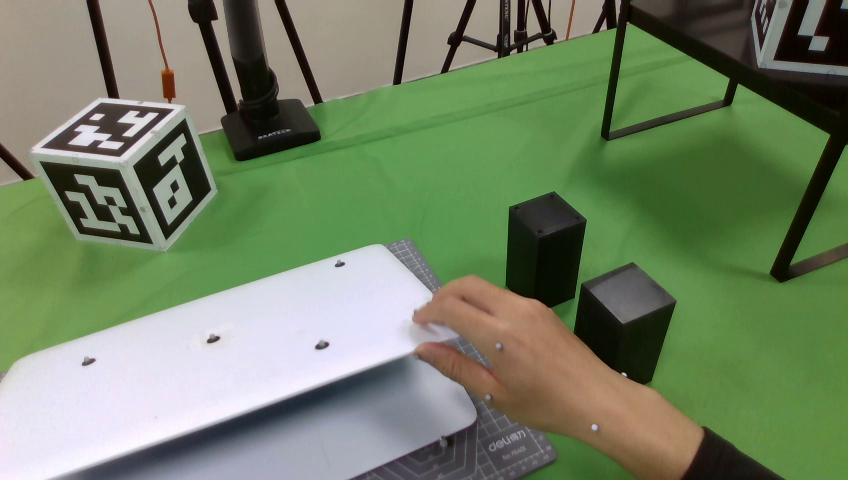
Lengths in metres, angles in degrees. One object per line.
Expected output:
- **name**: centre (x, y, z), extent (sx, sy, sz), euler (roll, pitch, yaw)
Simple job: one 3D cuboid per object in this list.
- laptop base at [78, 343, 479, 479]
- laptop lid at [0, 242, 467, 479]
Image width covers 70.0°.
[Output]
- **laptop base**: centre (-0.159, 0.133, 0.524), extent (0.355, 0.023, 0.232), euler (-18, 46, -16)
- **laptop lid**: centre (-0.167, 0.084, 0.493), extent (0.357, 0.013, 0.239), euler (-17, 22, -15)
